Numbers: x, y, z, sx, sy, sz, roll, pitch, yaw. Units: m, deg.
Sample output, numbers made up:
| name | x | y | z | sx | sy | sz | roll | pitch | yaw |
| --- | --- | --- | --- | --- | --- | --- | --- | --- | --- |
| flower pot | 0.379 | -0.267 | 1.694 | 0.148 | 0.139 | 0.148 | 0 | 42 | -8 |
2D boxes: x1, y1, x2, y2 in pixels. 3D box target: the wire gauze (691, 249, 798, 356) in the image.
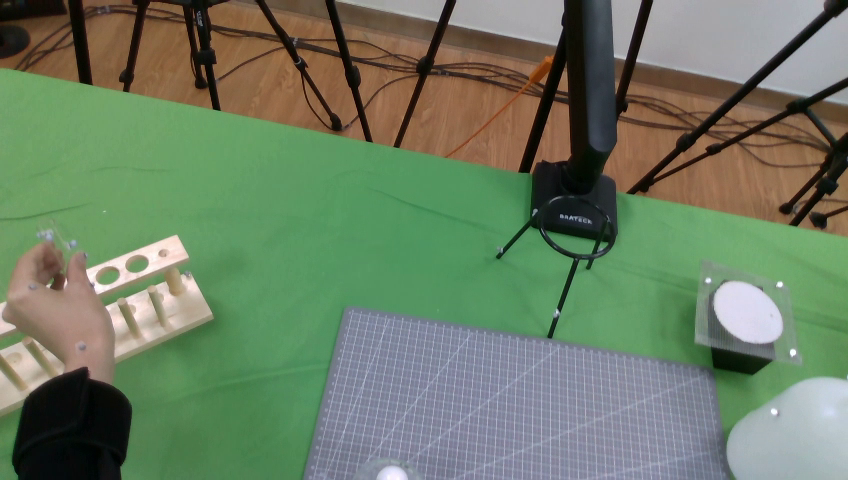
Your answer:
| name | x | y | z | sx | sy | sz | roll | pitch | yaw |
| --- | --- | --- | --- | --- | --- | --- | --- | --- | --- |
| wire gauze | 0.384 | 0.075 | 0.731 | 0.121 | 0.011 | 0.124 | 16 | 54 | 3 |

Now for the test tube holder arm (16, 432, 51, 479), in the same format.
| name | x | y | z | sx | sy | sz | roll | pitch | yaw |
| --- | --- | --- | --- | --- | --- | --- | --- | --- | --- |
| test tube holder arm | -0.351 | 0.245 | 0.495 | 0.013 | 0.015 | 0.177 | 11 | 53 | 2 |

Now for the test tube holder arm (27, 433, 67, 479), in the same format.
| name | x | y | z | sx | sy | sz | roll | pitch | yaw |
| --- | --- | --- | --- | --- | --- | --- | --- | --- | --- |
| test tube holder arm | -0.337 | 0.211 | 0.521 | 0.010 | 0.015 | 0.087 | 12 | 53 | 3 |

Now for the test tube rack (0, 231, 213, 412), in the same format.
| name | x | y | z | sx | sy | sz | roll | pitch | yaw |
| --- | --- | --- | --- | --- | --- | --- | --- | --- | --- |
| test tube rack | -0.354 | 0.084 | 0.625 | 0.242 | 0.086 | 0.066 | -26 | 62 | -24 |

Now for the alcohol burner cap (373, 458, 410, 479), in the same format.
| name | x | y | z | sx | sy | sz | roll | pitch | yaw |
| --- | --- | --- | --- | --- | --- | --- | --- | --- | --- |
| alcohol burner cap | -0.028 | 0.206 | 0.524 | 0.034 | 0.048 | 0.033 | 2 | 59 | -2 |

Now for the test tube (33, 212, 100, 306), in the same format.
| name | x | y | z | sx | sy | sz | roll | pitch | yaw |
| --- | --- | --- | --- | --- | --- | --- | --- | --- | --- |
| test tube | -0.340 | 0.023 | 0.582 | 0.017 | 0.151 | 0.017 | 5 | 55 | -7 |

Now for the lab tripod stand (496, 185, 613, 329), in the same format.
| name | x | y | z | sx | sy | sz | roll | pitch | yaw |
| --- | --- | --- | --- | --- | --- | --- | --- | --- | --- |
| lab tripod stand | 0.162 | 0.013 | 0.724 | 0.149 | 0.132 | 0.147 | 5 | 56 | -7 |

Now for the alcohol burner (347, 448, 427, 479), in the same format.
| name | x | y | z | sx | sy | sz | roll | pitch | yaw |
| --- | --- | --- | --- | --- | --- | --- | --- | --- | --- |
| alcohol burner | -0.032 | 0.225 | 0.555 | 0.078 | 0.120 | 0.077 | 5 | 54 | -7 |

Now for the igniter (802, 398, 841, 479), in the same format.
| name | x | y | z | sx | sy | sz | roll | pitch | yaw |
| --- | --- | --- | --- | --- | --- | --- | --- | --- | --- |
| igniter | 0.423 | 0.297 | 0.629 | 0.057 | 0.025 | 0.274 | 24 | 54 | -7 |

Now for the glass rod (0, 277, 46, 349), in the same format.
| name | x | y | z | sx | sy | sz | roll | pitch | yaw |
| --- | --- | --- | --- | --- | --- | --- | --- | --- | --- |
| glass rod | -0.394 | 0.045 | 0.565 | 0.008 | 0.201 | 0.008 | 3 | 46 | -3 |

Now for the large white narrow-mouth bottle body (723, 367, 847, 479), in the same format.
| name | x | y | z | sx | sy | sz | roll | pitch | yaw |
| --- | --- | --- | --- | --- | --- | --- | --- | --- | --- |
| large white narrow-mouth bottle body | 0.388 | 0.183 | 0.601 | 0.102 | 0.196 | 0.101 | 4 | 54 | -5 |
